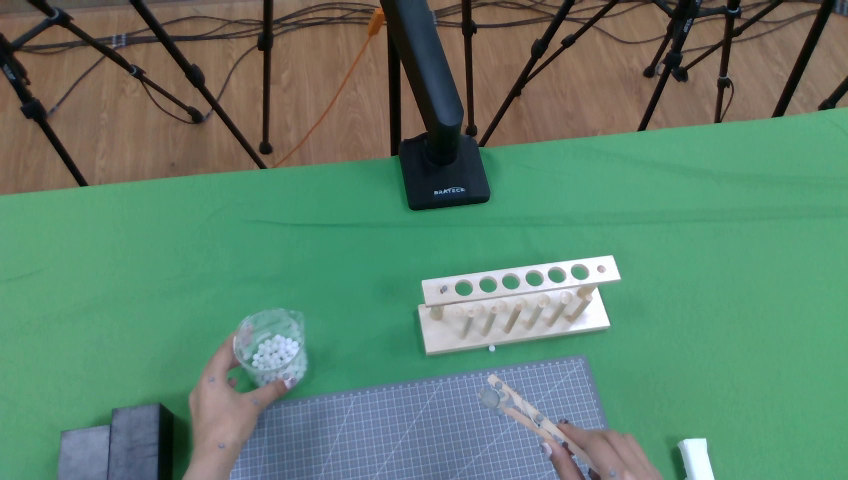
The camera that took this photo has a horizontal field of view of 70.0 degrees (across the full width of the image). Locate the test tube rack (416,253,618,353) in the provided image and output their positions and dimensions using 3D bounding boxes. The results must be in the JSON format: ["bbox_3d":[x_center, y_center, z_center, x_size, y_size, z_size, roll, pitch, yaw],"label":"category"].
[{"bbox_3d":[0.117,0.079,0.758,0.243,0.086,0.066,-7,62,-8],"label":"test tube rack"}]

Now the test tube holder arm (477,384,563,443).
[{"bbox_3d":[0.089,0.158,0.552,0.087,0.015,0.010,27,91,13],"label":"test tube holder arm"}]

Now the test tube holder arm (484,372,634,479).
[{"bbox_3d":[0.129,0.176,0.542,0.177,0.015,0.013,34,94,13],"label":"test tube holder arm"}]

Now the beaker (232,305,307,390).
[{"bbox_3d":[-0.171,0.126,0.696,0.073,0.101,0.084,41,65,14],"label":"beaker"}]

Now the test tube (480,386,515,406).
[{"bbox_3d":[0.071,0.142,0.554,0.017,0.151,0.017,-3,76,14],"label":"test tube"}]

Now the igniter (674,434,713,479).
[{"bbox_3d":[0.323,0.353,0.656,0.057,0.025,0.274,4,60,-14],"label":"igniter"}]
